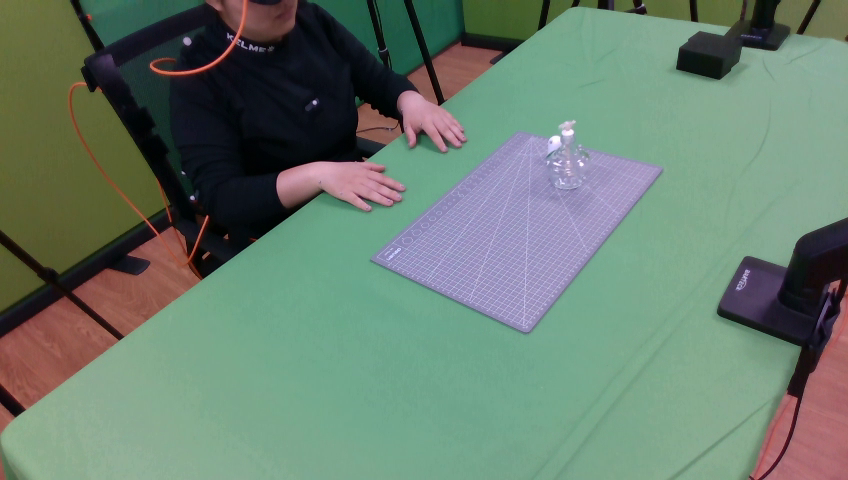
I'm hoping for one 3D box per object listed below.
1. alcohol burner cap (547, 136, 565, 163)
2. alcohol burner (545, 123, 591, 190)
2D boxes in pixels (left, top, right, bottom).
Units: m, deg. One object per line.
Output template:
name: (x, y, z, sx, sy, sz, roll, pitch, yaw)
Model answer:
alcohol burner cap: (0.245, -0.170, 1.118, 0.034, 0.048, 0.033, -6, 40, 5)
alcohol burner: (0.247, -0.147, 1.034, 0.078, 0.120, 0.077, -7, 41, 6)
